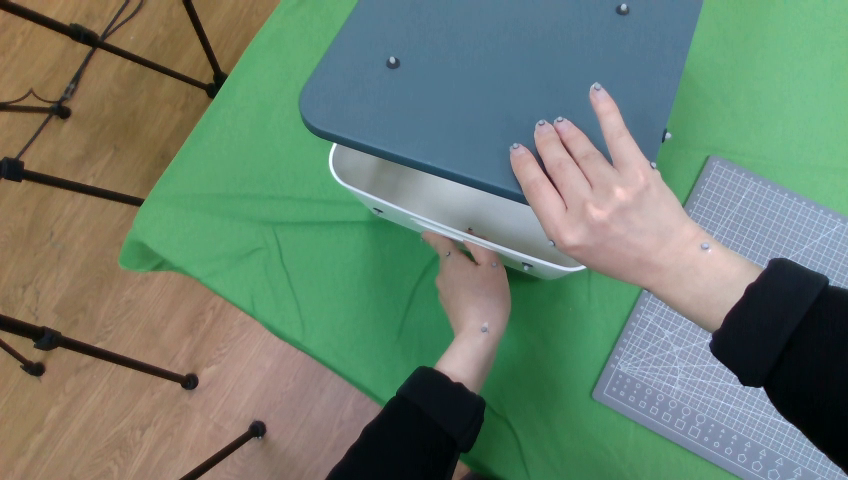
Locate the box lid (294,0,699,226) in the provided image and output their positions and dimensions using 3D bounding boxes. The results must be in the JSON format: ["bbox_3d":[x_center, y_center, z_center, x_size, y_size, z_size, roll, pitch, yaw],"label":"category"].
[{"bbox_3d":[0.083,-0.194,0.496,0.262,0.015,0.369,20,65,11],"label":"box lid"}]

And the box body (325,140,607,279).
[{"bbox_3d":[0.092,-0.164,0.621,0.253,0.161,0.363,21,83,7],"label":"box body"}]

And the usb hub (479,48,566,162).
[{"bbox_3d":[0.111,-0.152,0.679,0.049,0.025,0.125,27,81,11],"label":"usb hub"}]
